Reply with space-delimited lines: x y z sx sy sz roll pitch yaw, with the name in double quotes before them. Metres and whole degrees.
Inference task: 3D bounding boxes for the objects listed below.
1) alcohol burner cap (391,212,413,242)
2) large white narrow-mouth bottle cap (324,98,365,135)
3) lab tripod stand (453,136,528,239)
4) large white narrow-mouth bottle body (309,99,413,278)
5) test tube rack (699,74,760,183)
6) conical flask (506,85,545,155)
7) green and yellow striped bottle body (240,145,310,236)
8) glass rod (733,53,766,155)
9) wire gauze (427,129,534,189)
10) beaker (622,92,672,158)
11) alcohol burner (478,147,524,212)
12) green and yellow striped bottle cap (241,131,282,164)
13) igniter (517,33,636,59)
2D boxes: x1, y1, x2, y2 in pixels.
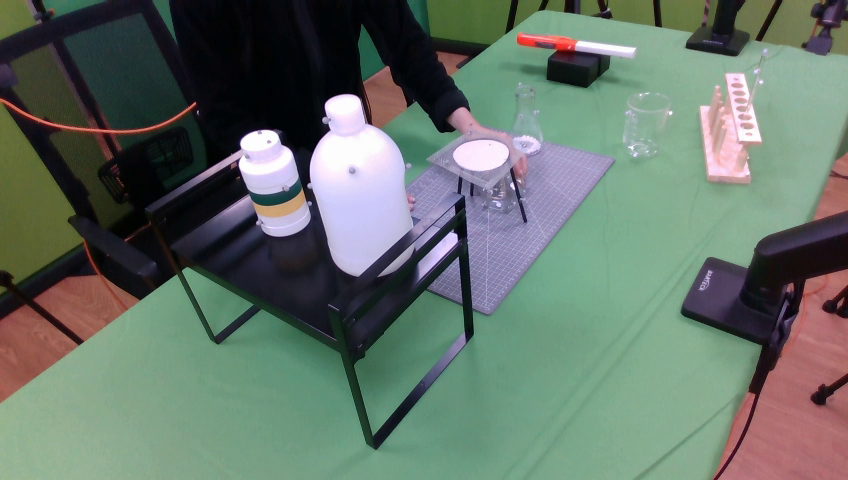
"alcohol burner cap" -0.038 -0.023 0.990 0.034 0.048 0.033 -5 40 4
"large white narrow-mouth bottle cap" -0.076 -0.120 0.585 0.038 0.024 0.037 -3 42 3
"lab tripod stand" 0.094 -0.086 0.974 0.148 0.132 0.147 -4 43 4
"large white narrow-mouth bottle body" -0.069 -0.057 0.644 0.102 0.195 0.101 -3 42 4
"test tube rack" 0.547 -0.208 1.094 0.066 0.085 0.242 6 42 16
"conical flask" 0.190 -0.227 1.134 0.075 0.122 0.075 -4 41 4
"green and yellow striped bottle body" -0.181 -0.068 0.729 0.063 0.120 0.063 -4 40 4
"glass rod" 0.540 -0.219 1.006 0.008 0.201 0.008 -5 45 6
"wire gauze" 0.086 -0.131 0.923 0.124 0.011 0.122 26 52 33
"beaker" 0.402 -0.209 1.106 0.074 0.101 0.083 -9 40 -2
"alcohol burner" 0.128 -0.106 1.009 0.078 0.119 0.077 -5 43 5
"green and yellow striped bottle cap" -0.187 -0.107 0.695 0.045 0.020 0.045 -3 39 3
"igniter" 0.336 -0.441 1.369 0.275 0.025 0.057 16 41 23
